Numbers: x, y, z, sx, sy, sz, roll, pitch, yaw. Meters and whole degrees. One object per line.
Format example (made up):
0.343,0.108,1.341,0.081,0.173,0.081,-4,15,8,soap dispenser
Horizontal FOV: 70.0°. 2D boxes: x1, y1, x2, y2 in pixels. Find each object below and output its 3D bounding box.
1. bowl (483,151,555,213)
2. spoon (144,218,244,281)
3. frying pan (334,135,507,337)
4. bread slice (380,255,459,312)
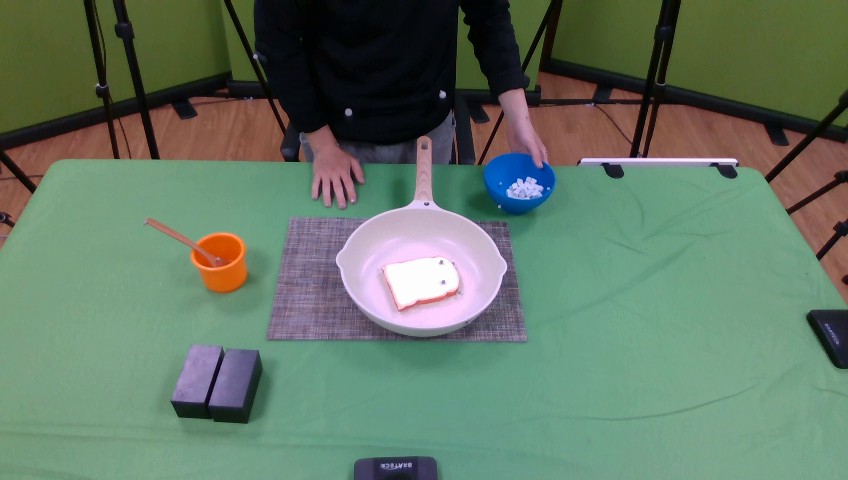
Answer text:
0.195,-0.110,1.278,0.151,0.077,0.150,1,47,-1,bowl
-0.401,0.015,1.064,0.195,0.021,0.041,41,36,-29,spoon
-0.004,-0.026,1.160,0.307,0.103,0.485,4,55,-2,frying pan
-0.005,0.074,1.119,0.134,0.018,0.106,-16,50,-16,bread slice
